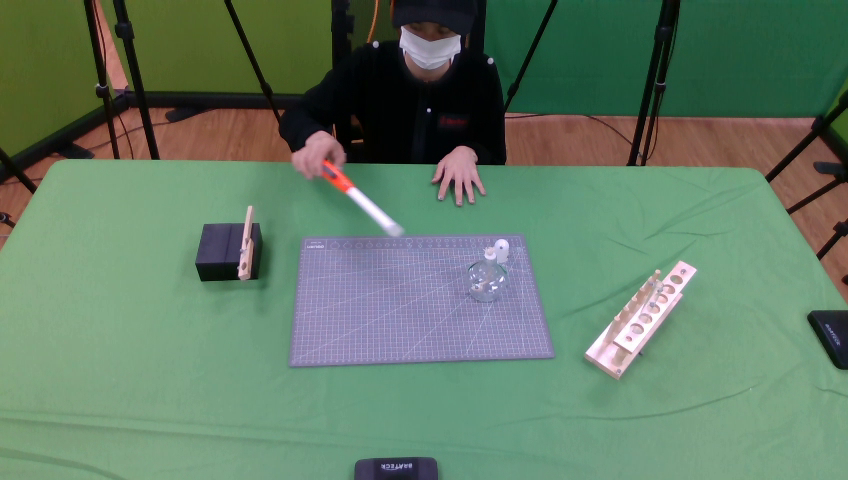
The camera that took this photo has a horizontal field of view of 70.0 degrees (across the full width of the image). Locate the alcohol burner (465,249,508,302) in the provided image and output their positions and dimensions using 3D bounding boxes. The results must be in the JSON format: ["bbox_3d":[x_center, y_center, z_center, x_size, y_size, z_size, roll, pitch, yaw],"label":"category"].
[{"bbox_3d":[0.114,0.057,1.085,0.078,0.120,0.077,2,48,-2],"label":"alcohol burner"}]

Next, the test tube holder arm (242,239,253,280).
[{"bbox_3d":[-0.313,0.033,1.075,0.010,0.015,0.087,-10,46,-1],"label":"test tube holder arm"}]

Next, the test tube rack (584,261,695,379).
[{"bbox_3d":[0.380,0.127,1.062,0.066,0.085,0.242,34,53,26],"label":"test tube rack"}]

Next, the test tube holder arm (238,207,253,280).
[{"bbox_3d":[-0.325,0.003,1.106,0.013,0.015,0.177,-10,46,-1],"label":"test tube holder arm"}]

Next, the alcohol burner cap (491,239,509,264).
[{"bbox_3d":[0.150,0.020,1.174,0.034,0.048,0.033,2,46,-2],"label":"alcohol burner cap"}]

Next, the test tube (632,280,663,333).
[{"bbox_3d":[0.363,0.121,0.997,0.017,0.151,0.017,2,44,-1],"label":"test tube"}]

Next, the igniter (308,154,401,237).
[{"bbox_3d":[-0.126,-0.083,1.030,0.025,0.057,0.275,-50,50,0],"label":"igniter"}]
